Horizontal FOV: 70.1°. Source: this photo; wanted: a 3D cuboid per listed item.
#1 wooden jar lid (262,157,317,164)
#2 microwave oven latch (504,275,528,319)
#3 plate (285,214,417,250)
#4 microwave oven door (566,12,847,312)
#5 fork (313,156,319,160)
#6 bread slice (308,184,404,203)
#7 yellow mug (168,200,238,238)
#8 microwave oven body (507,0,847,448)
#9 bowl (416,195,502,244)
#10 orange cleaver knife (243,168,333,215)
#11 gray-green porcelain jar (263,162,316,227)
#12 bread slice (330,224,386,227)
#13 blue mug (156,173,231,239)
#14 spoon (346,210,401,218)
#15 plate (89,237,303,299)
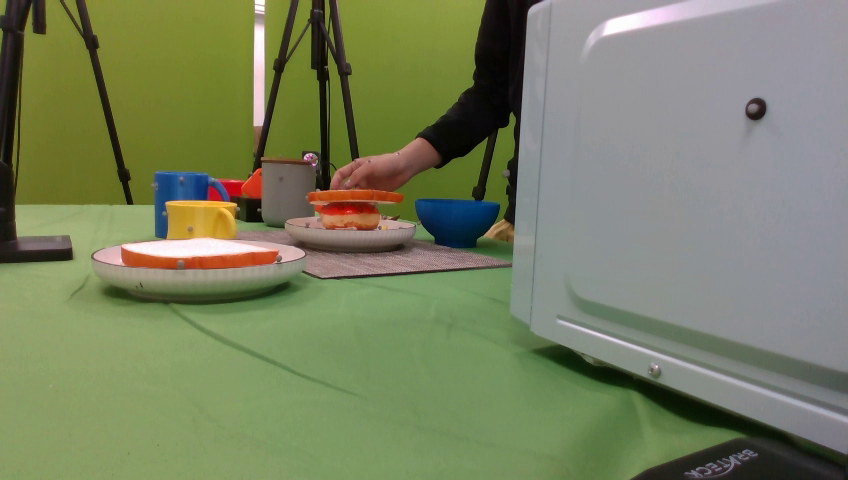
[{"bbox_3d":[-0.269,-0.154,1.208,0.108,0.020,0.108,3,4,0],"label":"wooden jar lid"},{"bbox_3d":[0.100,0.041,0.471,0.079,0.029,0.030,-1,7,-28],"label":"microwave oven latch"},{"bbox_3d":[-0.116,-0.014,0.964,0.209,0.038,0.209,2,7,0],"label":"plate"},{"bbox_3d":[0.290,-0.068,0.578,0.358,0.243,0.039,-2,8,-28],"label":"microwave oven door"},{"bbox_3d":[-0.331,-0.144,1.506,0.207,0.018,0.028,-42,-19,22],"label":"fork"},{"bbox_3d":[-0.114,-0.072,0.953,0.134,0.018,0.107,-3,-1,22],"label":"bread slice"},{"bbox_3d":[-0.320,-0.023,0.904,0.130,0.064,0.100,9,10,36],"label":"yellow mug"},{"bbox_3d":[0.331,-0.042,0.425,0.444,0.260,0.324,-2,8,-31],"label":"microwave oven body"},{"bbox_3d":[0.059,-0.036,1.049,0.151,0.077,0.151,2,7,0],"label":"bowl"},{"bbox_3d":[-0.300,-0.089,1.351,0.212,0.077,0.012,28,-9,-34],"label":"orange cleaver knife"},{"bbox_3d":[-0.271,-0.092,1.217,0.106,0.126,0.106,2,7,0],"label":"gray-green porcelain jar"},{"bbox_3d":[-0.103,-0.011,0.960,0.131,0.019,0.105,4,8,24],"label":"bread slice"},{"bbox_3d":[-0.381,-0.057,1.004,0.117,0.106,0.082,1,8,-12],"label":"blue mug"},{"bbox_3d":[-0.121,-0.060,1.400,0.042,0.021,0.192,-26,24,-38],"label":"spoon"},{"bbox_3d":[-0.233,0.029,0.636,0.208,0.039,0.207,2,7,0],"label":"plate"}]
